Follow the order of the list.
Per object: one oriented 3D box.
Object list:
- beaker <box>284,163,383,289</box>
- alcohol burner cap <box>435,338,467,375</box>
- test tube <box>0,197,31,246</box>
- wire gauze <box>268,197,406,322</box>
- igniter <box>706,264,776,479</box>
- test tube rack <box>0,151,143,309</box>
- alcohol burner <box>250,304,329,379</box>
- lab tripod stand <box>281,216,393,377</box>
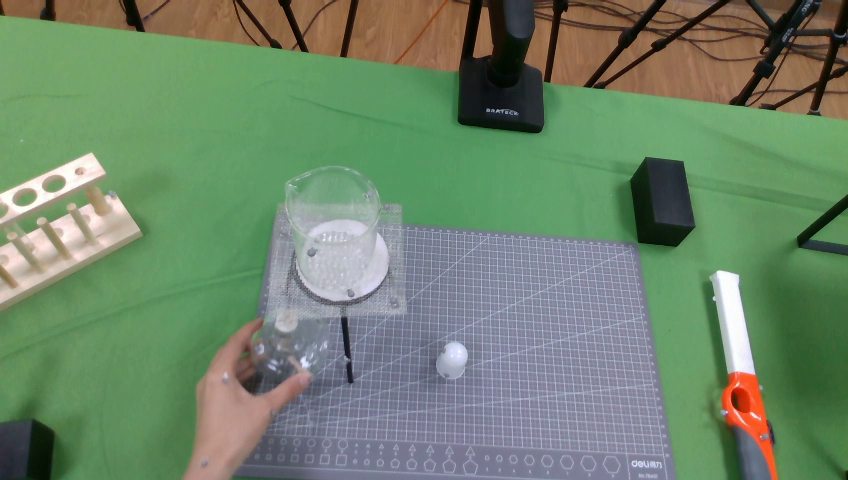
[{"bbox_3d":[-0.079,-0.008,0.516,0.084,0.101,0.073,27,61,8],"label":"beaker"},{"bbox_3d":[0.030,0.122,0.642,0.034,0.048,0.033,2,63,-3],"label":"alcohol burner cap"},{"bbox_3d":[-0.424,-0.038,0.596,0.017,0.151,0.017,4,55,-5],"label":"test tube"},{"bbox_3d":[-0.080,0.014,0.560,0.121,0.011,0.124,-1,64,-6],"label":"wire gauze"},{"bbox_3d":[0.351,0.152,0.674,0.057,0.025,0.274,12,60,-12],"label":"igniter"},{"bbox_3d":[-0.432,0.009,0.625,0.242,0.086,0.066,-33,69,-23],"label":"test tube rack"},{"bbox_3d":[-0.133,0.093,0.596,0.078,0.120,0.077,4,58,-7],"label":"alcohol burner"},{"bbox_3d":[-0.083,0.050,0.615,0.149,0.132,0.147,4,61,-7],"label":"lab tripod stand"}]
